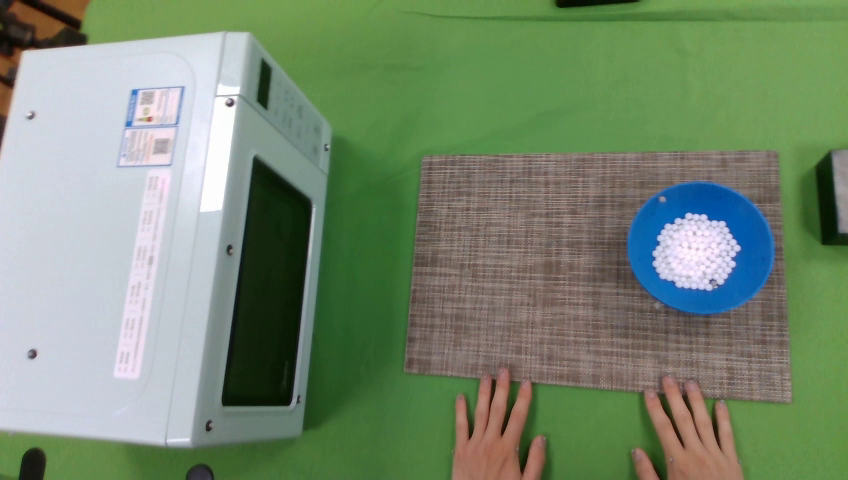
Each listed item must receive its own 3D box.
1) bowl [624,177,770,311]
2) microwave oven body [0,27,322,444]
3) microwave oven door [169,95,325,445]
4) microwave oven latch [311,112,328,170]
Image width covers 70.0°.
[{"bbox_3d":[0.306,0.012,0.699,0.151,0.077,0.150,-3,75,13],"label":"bowl"},{"bbox_3d":[-0.329,0.008,0.753,0.325,0.262,0.439,0,77,13],"label":"microwave oven body"},{"bbox_3d":[-0.190,0.047,0.706,0.039,0.245,0.354,0,76,14],"label":"microwave oven door"},{"bbox_3d":[-0.152,-0.139,0.851,0.030,0.030,0.079,0,77,13],"label":"microwave oven latch"}]
